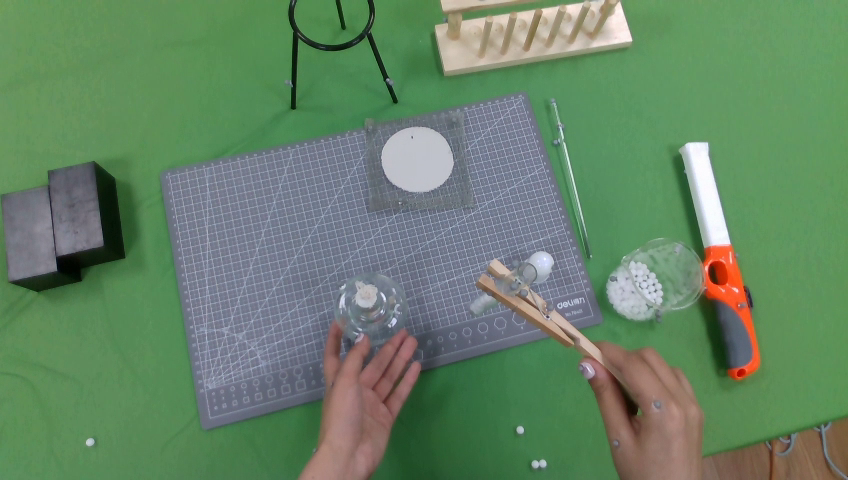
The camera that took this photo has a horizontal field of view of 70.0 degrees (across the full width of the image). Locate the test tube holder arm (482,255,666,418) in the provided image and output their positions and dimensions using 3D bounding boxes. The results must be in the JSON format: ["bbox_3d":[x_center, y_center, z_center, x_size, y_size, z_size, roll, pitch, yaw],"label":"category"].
[{"bbox_3d":[0.115,0.074,0.467,0.178,0.015,0.013,40,75,3],"label":"test tube holder arm"}]

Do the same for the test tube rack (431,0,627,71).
[{"bbox_3d":[0.134,-0.274,0.736,0.242,0.085,0.066,-10,75,-5],"label":"test tube rack"}]

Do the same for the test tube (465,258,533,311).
[{"bbox_3d":[0.057,0.039,0.490,0.017,0.150,0.017,3,74,-10],"label":"test tube"}]

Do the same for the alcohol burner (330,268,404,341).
[{"bbox_3d":[-0.060,0.063,0.622,0.078,0.119,0.077,0,74,0],"label":"alcohol burner"}]

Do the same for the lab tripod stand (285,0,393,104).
[{"bbox_3d":[-0.104,-0.221,0.688,0.148,0.132,0.147,1,77,-2],"label":"lab tripod stand"}]

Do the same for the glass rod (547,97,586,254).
[{"bbox_3d":[0.170,-0.079,0.725,0.008,0.008,0.198,-9,78,-5],"label":"glass rod"}]

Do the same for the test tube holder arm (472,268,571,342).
[{"bbox_3d":[0.076,0.051,0.467,0.088,0.015,0.010,33,74,1],"label":"test tube holder arm"}]

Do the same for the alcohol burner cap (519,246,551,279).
[{"bbox_3d":[0.126,0.022,0.677,0.034,0.048,0.033,1,75,-2],"label":"alcohol burner cap"}]

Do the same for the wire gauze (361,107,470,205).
[{"bbox_3d":[-0.011,-0.099,0.721,0.125,0.011,0.121,-3,76,-4],"label":"wire gauze"}]

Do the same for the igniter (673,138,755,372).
[{"bbox_3d":[0.333,0.012,0.699,0.057,0.025,0.275,-4,75,-13],"label":"igniter"}]

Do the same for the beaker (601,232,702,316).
[{"bbox_3d":[0.235,0.040,0.651,0.084,0.101,0.073,17,74,4],"label":"beaker"}]
